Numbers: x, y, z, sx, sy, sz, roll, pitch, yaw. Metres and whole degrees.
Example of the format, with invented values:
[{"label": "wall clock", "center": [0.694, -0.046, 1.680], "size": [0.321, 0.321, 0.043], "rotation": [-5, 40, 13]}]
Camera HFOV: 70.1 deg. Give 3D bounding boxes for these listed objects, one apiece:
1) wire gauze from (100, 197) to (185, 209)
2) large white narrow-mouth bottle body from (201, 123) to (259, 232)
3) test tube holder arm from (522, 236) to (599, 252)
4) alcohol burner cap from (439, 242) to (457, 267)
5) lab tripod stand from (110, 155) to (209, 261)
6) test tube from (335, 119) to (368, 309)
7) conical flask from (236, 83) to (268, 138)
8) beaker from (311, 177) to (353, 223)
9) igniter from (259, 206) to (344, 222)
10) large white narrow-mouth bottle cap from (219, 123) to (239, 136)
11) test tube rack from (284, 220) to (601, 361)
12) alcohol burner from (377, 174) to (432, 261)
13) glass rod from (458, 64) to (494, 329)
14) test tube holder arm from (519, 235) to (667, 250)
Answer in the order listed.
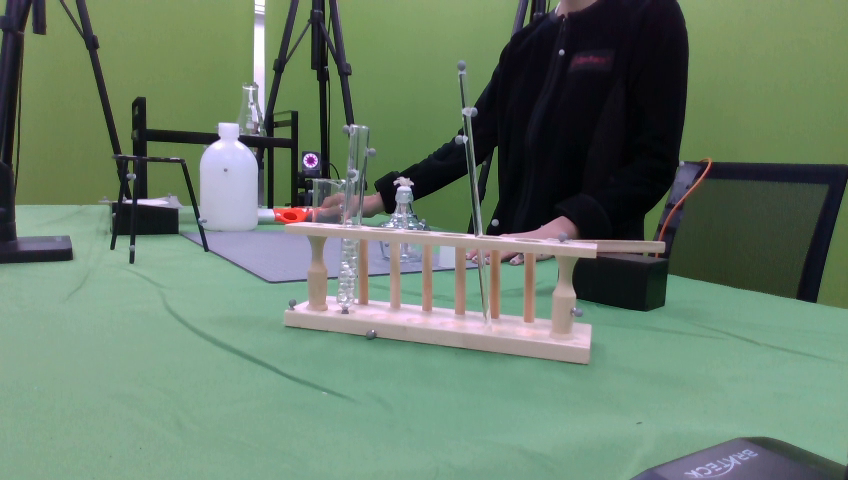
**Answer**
[{"label": "wire gauze", "center": [-0.469, -0.062, 1.008], "size": [0.126, 0.011, 0.121], "rotation": [-2, 8, -25]}, {"label": "large white narrow-mouth bottle body", "center": [-0.358, -0.116, 1.116], "size": [0.102, 0.194, 0.102], "rotation": [2, 8, 0]}, {"label": "test tube holder arm", "center": [0.144, 0.004, 0.635], "size": [0.088, 0.015, 0.010], "rotation": [-1, 14, -19]}, {"label": "alcohol burner cap", "center": [0.038, 0.011, 0.807], "size": [0.034, 0.048, 0.034], "rotation": [2, 8, 0]}, {"label": "lab tripod stand", "center": [-0.361, -0.046, 0.806], "size": [0.148, 0.131, 0.148], "rotation": [2, 5, 0]}, {"label": "test tube", "center": [-0.057, -0.019, 0.477], "size": [0.017, 0.150, 0.017], "rotation": [5, 10, -1]}, {"label": "conical flask", "center": [-0.400, -0.298, 1.396], "size": [0.075, 0.122, 0.075], "rotation": [2, 8, 0]}, {"label": "beaker", "center": [-0.167, -0.064, 1.106], "size": [0.074, 0.100, 0.083], "rotation": [-2, 9, -27]}, {"label": "igniter", "center": [-0.299, -0.051, 1.249], "size": [0.278, 0.025, 0.057], "rotation": [-2, 36, -28]}, {"label": "large white narrow-mouth bottle cap", "center": [-0.356, -0.201, 1.104], "size": [0.038, 0.024, 0.037], "rotation": [2, 8, 0]}, {"label": "test tube rack", "center": [0.013, 0.032, 0.482], "size": [0.242, 0.085, 0.067], "rotation": [4, 7, 16]}, {"label": "alcohol burner", "center": [-0.027, -0.031, 0.838], "size": [0.078, 0.119, 0.078], "rotation": [0, 6, 0]}, {"label": "glass rod", "center": [0.039, -0.029, 0.449], "size": [0.008, 0.199, 0.008], "rotation": [-7, 9, 1]}, {"label": "test tube holder arm", "center": [0.186, 0.003, 0.655], "size": [0.179, 0.015, 0.013], "rotation": [0, 14, -18]}]
